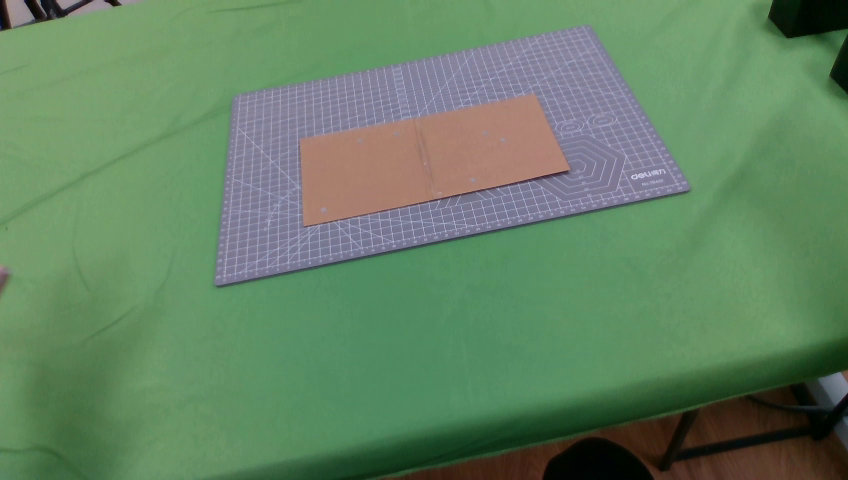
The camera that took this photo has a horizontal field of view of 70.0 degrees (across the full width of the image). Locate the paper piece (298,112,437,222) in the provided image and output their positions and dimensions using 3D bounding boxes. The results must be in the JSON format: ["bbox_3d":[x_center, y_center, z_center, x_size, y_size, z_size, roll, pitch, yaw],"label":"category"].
[{"bbox_3d":[-0.064,-0.081,0.633,0.138,0.009,0.134,-11,47,1],"label":"paper piece"}]

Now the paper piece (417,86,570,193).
[{"bbox_3d":[0.067,-0.109,0.633,0.135,0.004,0.134,-12,49,1],"label":"paper piece"}]
